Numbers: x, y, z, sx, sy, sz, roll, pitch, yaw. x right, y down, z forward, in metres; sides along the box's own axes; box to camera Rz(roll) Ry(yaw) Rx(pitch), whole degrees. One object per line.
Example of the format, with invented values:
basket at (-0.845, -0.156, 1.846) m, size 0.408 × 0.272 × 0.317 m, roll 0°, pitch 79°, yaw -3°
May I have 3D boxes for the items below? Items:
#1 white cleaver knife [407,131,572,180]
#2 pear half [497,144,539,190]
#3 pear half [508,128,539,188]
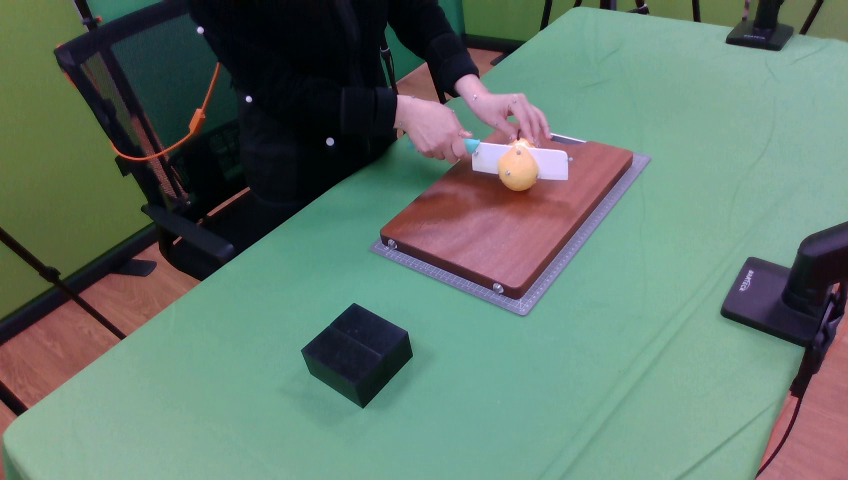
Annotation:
white cleaver knife at (0.104, -0.139, 1.012) m, size 0.285 × 0.066 × 0.021 m, roll 11°, pitch 42°, yaw 19°
pear half at (0.154, -0.113, 0.995) m, size 0.070 × 0.088 × 0.031 m, roll 7°, pitch 47°, yaw 12°
pear half at (0.164, -0.146, 1.015) m, size 0.076 × 0.110 × 0.056 m, roll 7°, pitch 42°, yaw 12°
